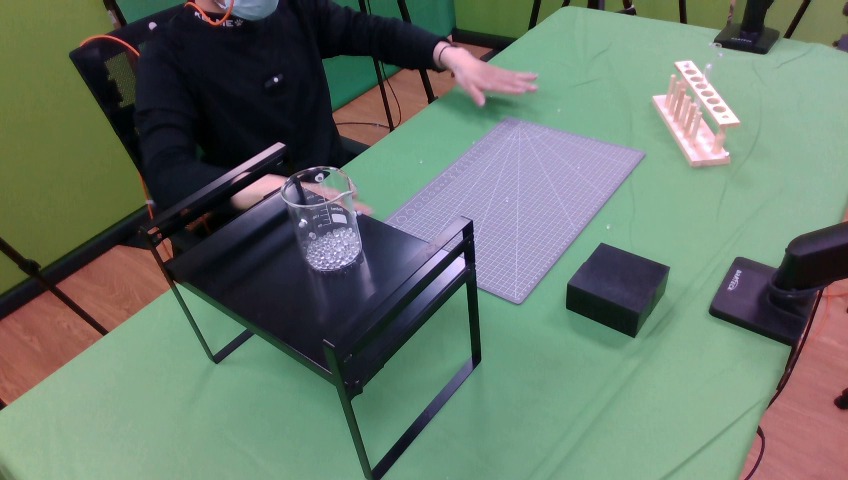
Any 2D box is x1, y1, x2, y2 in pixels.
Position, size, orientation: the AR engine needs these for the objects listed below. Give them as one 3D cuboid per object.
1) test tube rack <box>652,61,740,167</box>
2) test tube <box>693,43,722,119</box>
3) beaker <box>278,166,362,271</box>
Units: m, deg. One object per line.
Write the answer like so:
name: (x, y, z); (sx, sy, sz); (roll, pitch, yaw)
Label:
test tube rack: (0.499, -0.242, 1.130); (0.067, 0.085, 0.241); (-5, 41, 4)
test tube: (0.513, -0.287, 1.104); (0.017, 0.151, 0.017); (-1, 45, 2)
beaker: (-0.109, -0.022, 0.675); (0.084, 0.101, 0.073); (-2, 41, 5)
